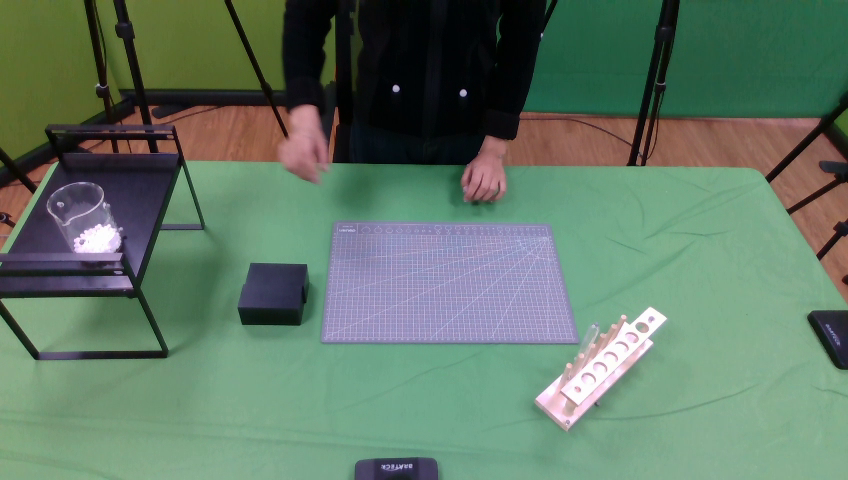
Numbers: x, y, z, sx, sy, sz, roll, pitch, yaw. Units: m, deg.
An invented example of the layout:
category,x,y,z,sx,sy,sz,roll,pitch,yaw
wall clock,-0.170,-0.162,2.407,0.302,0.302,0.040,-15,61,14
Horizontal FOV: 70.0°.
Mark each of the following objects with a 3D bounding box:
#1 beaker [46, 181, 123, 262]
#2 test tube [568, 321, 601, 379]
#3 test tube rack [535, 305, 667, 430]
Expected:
category,x,y,z,sx,sy,sz,roll,pitch,yaw
beaker,-0.487,-0.021,0.877,0.074,0.101,0.083,3,47,0
test tube,0.247,0.173,0.938,0.017,0.151,0.017,2,47,-2
test tube rack,0.290,0.193,0.984,0.242,0.085,0.066,-32,57,-30
